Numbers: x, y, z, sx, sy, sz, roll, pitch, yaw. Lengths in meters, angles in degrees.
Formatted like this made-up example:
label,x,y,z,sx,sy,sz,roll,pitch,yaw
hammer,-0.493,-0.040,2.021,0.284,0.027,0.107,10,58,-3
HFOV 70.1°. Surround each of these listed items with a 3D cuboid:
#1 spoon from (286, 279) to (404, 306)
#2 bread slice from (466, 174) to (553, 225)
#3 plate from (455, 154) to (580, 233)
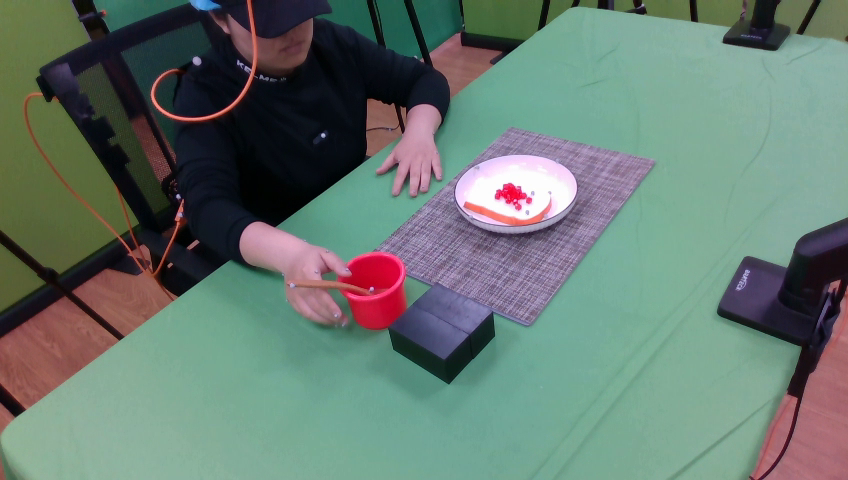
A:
label,x,y,z,sx,sy,sz,roll,pitch,yaw
spoon,-0.104,0.068,0.832,0.195,0.021,0.041,17,20,-43
bread slice,0.152,-0.067,1.022,0.130,0.019,0.105,23,50,33
plate,0.158,-0.076,1.028,0.209,0.038,0.208,-5,40,5
